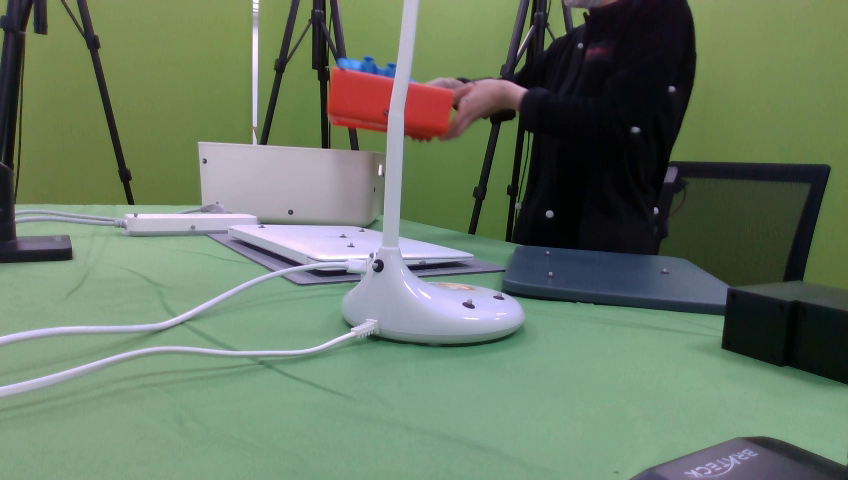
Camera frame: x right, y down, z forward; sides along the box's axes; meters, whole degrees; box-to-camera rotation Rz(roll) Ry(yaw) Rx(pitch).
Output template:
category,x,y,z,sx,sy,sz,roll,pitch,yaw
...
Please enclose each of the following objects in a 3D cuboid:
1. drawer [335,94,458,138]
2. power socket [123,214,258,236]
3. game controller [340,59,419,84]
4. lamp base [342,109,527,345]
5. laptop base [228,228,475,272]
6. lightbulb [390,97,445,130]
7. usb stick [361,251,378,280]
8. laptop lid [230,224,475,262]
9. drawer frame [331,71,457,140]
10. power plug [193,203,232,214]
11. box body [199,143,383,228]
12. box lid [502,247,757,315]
category,x,y,z,sx,sy,sz,roll,pitch,yaw
drawer,-0.058,-0.241,1.119,0.212,0.073,0.194,7,7,-9
power socket,-0.398,-0.028,1.049,0.228,0.032,0.072,-3,8,-34
game controller,-0.080,-0.296,1.106,0.156,0.051,0.096,6,0,-32
lamp base,0.006,-0.015,0.505,0.160,0.180,0.180,6,11,29
laptop base,-0.122,0.011,0.889,0.237,0.023,0.352,1,6,-35
lightbulb,-0.012,-0.225,1.091,0.108,0.059,0.059,-16,15,-28
usb stick,-0.051,0.033,0.656,0.027,0.021,0.059,4,-27,-21
laptop lid,-0.120,0.000,0.888,0.243,0.013,0.355,1,7,-33
drawer frame,-0.060,-0.243,1.118,0.214,0.082,0.201,7,5,-9
power plug,-0.394,-0.042,1.139,0.072,0.052,0.035,-13,2,31
box body,-0.276,-0.124,1.334,0.364,0.160,0.254,3,7,1
box lid,0.244,0.044,0.793,0.263,0.015,0.372,4,7,10
